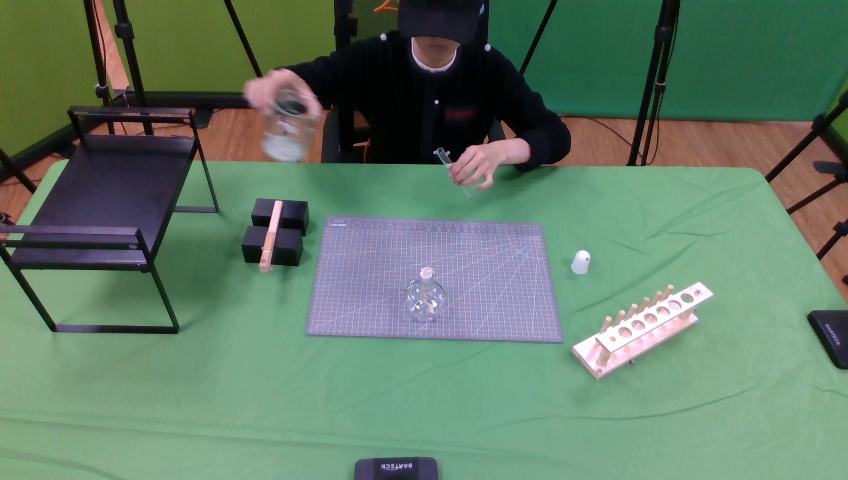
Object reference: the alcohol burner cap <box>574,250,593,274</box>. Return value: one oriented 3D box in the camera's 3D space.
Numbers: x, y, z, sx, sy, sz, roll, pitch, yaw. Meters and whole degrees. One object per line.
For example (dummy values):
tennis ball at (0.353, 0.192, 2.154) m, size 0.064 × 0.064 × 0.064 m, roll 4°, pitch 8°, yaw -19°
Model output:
alcohol burner cap at (0.308, 0.039, 1.163) m, size 0.034 × 0.048 × 0.033 m, roll 1°, pitch 46°, yaw -1°

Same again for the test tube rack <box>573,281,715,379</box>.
test tube rack at (0.378, 0.140, 1.038) m, size 0.242 × 0.085 × 0.066 m, roll -22°, pitch 51°, yaw -23°

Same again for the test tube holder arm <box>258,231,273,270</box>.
test tube holder arm at (-0.282, 0.017, 1.086) m, size 0.015 × 0.010 × 0.087 m, roll -3°, pitch 47°, yaw 3°

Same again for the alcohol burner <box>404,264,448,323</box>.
alcohol burner at (0.003, 0.087, 1.042) m, size 0.078 × 0.120 × 0.077 m, roll 1°, pitch 45°, yaw 0°

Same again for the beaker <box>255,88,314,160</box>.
beaker at (-0.234, -0.188, 1.003) m, size 0.084 × 0.100 × 0.073 m, roll 14°, pitch 41°, yaw -17°

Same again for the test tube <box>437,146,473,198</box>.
test tube at (0.063, -0.129, 1.181) m, size 0.017 × 0.151 × 0.017 m, roll -16°, pitch 51°, yaw 21°

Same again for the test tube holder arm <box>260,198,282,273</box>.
test tube holder arm at (-0.282, -0.012, 1.120) m, size 0.015 × 0.013 × 0.177 m, roll -3°, pitch 48°, yaw 3°
